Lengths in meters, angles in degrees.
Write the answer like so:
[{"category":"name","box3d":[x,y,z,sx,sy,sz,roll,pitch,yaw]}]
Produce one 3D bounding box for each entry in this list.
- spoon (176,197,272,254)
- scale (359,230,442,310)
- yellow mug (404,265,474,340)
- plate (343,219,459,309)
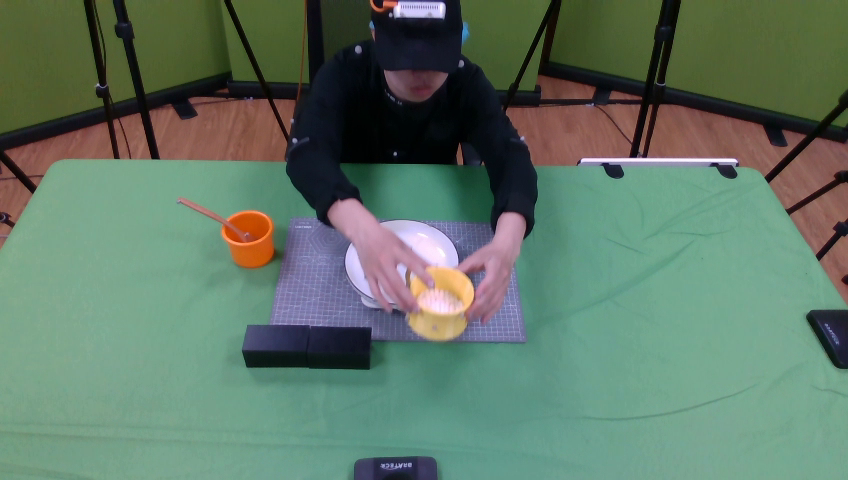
[{"category":"spoon","box3d":[-0.362,-0.028,1.108,0.021,0.195,0.041,-35,36,24]},{"category":"scale","box3d":[-0.043,0.047,1.138,0.149,0.032,0.199,2,45,-3]},{"category":"yellow mug","box3d":[0.013,0.087,0.945,0.100,0.064,0.130,-29,54,-33]},{"category":"plate","box3d":[-0.041,0.046,1.094,0.209,0.038,0.208,2,46,-2]}]
